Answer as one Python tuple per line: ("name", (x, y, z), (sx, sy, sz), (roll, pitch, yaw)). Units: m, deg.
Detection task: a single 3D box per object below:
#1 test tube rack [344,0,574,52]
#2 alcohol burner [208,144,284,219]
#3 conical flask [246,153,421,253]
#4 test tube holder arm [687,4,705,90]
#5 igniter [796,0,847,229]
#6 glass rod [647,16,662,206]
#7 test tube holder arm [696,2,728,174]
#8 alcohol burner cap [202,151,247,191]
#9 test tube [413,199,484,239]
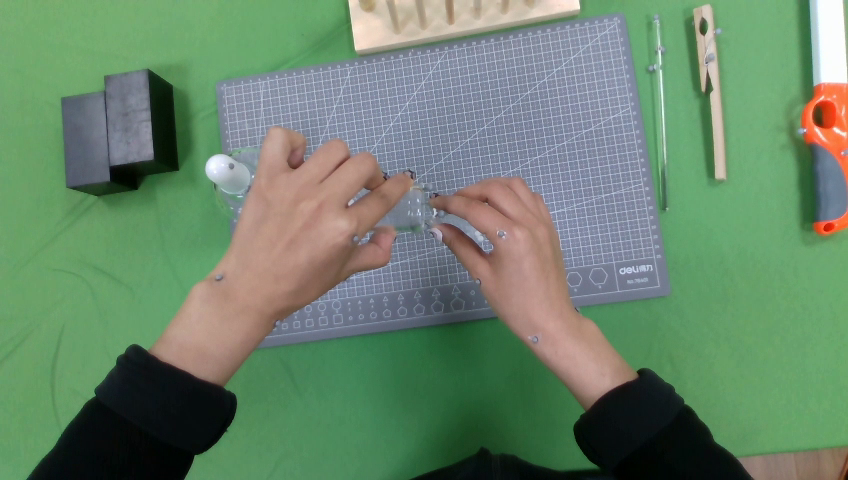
("test tube rack", (0.032, -0.262, 0.621), (0.242, 0.085, 0.066), (-9, 84, 5))
("alcohol burner", (-0.186, -0.062, 0.608), (0.078, 0.119, 0.077), (-1, 84, 8))
("conical flask", (-0.064, -0.027, 0.455), (0.122, 0.075, 0.075), (1, 85, 4))
("test tube holder arm", (0.283, -0.199, 0.624), (0.010, 0.015, 0.087), (-9, 84, 41))
("igniter", (0.398, -0.148, 0.602), (0.057, 0.025, 0.276), (1, 85, -4))
("glass rod", (0.239, -0.134, 0.626), (0.008, 0.008, 0.199), (-2, 87, 5))
("test tube holder arm", (0.292, -0.155, 0.617), (0.013, 0.015, 0.178), (-11, 82, 41))
("alcohol burner cap", (-0.191, -0.067, 0.572), (0.034, 0.048, 0.033), (0, 80, 3))
("test tube", (0.026, -0.016, 0.536), (0.017, 0.151, 0.017), (-3, 82, 22))
